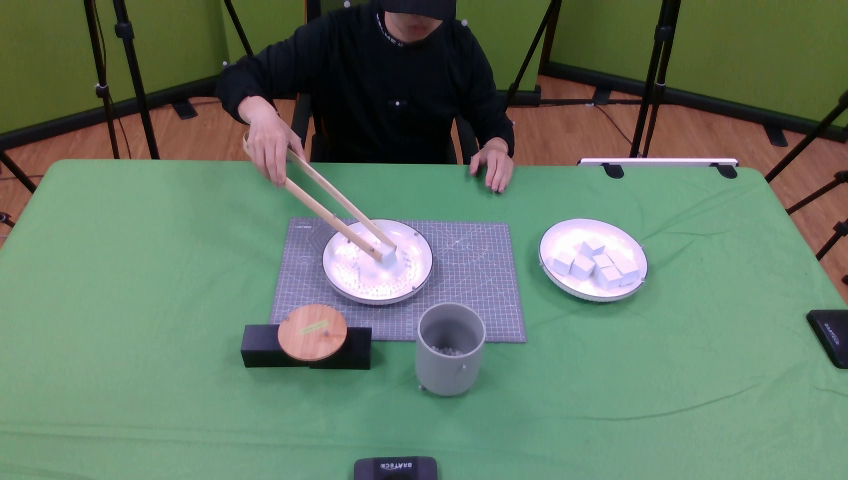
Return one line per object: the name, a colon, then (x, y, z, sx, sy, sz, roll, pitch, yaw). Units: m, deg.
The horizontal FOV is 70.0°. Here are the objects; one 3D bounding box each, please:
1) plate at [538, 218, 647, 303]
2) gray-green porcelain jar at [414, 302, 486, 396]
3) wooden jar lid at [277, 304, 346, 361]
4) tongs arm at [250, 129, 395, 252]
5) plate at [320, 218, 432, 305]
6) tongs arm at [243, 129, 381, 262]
plate: (0.322, 0.042, 1.171, 0.208, 0.039, 0.206, 2, 46, -2)
gray-green porcelain jar: (0.038, 0.177, 0.958, 0.106, 0.127, 0.105, 2, 46, -2)
wooden jar lid: (-0.179, 0.150, 0.972, 0.108, 0.021, 0.107, 2, 45, -2)
tongs arm: (-0.196, -0.101, 1.150, 0.386, 0.028, 0.028, 39, 55, 18)
plate: (-0.089, 0.044, 1.134, 0.209, 0.038, 0.208, 3, 46, -2)
tongs arm: (-0.213, -0.088, 1.134, 0.383, 0.026, 0.050, 37, 51, 16)
